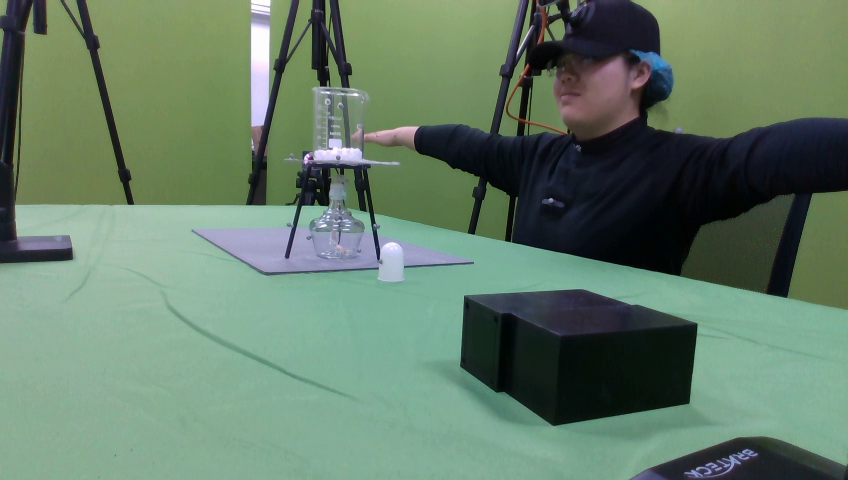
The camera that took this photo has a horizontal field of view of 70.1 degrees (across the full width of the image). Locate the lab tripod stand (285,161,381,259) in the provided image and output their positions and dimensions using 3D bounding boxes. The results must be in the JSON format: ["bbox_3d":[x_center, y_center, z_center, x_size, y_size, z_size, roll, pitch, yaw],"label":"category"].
[{"bbox_3d":[-0.123,-0.043,0.842,0.148,0.131,0.148,2,9,0],"label":"lab tripod stand"}]

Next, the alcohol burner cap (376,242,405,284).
[{"bbox_3d":[-0.039,0.026,0.710,0.034,0.048,0.034,3,6,0],"label":"alcohol burner cap"}]

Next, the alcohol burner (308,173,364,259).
[{"bbox_3d":[-0.121,-0.033,0.843,0.078,0.119,0.078,3,5,0],"label":"alcohol burner"}]

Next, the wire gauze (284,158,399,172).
[{"bbox_3d":[-0.116,-0.108,0.835,0.126,0.011,0.121,0,10,-31],"label":"wire gauze"}]

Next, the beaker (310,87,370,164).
[{"bbox_3d":[-0.116,-0.156,0.833,0.084,0.100,0.073,-2,10,-29],"label":"beaker"}]
